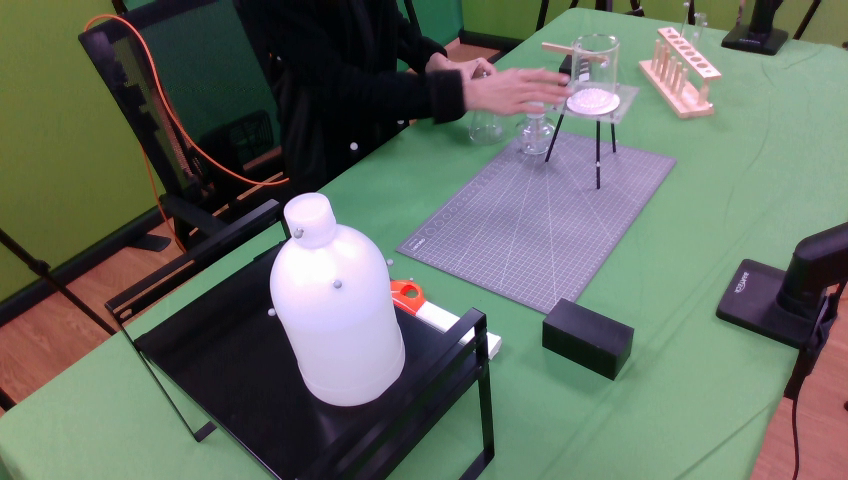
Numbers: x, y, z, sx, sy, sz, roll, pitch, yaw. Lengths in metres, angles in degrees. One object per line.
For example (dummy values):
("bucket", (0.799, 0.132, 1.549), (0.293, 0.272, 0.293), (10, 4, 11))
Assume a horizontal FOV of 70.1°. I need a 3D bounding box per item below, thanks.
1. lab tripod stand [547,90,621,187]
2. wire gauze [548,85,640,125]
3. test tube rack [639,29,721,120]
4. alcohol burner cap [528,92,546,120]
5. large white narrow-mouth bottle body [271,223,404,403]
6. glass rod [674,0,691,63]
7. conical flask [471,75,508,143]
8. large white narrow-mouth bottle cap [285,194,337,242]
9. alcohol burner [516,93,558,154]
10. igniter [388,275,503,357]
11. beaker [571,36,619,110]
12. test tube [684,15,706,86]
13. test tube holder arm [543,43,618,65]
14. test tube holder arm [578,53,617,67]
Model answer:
("lab tripod stand", (0.289, -0.184, 1.062), (0.148, 0.132, 0.147), (-6, 41, 6))
("wire gauze", (0.286, -0.234, 1.020), (0.124, 0.011, 0.122), (15, 44, 30))
("test tube rack", (0.527, -0.351, 1.262), (0.067, 0.085, 0.241), (-8, 40, 1))
("alcohol burner cap", (0.207, -0.249, 1.112), (0.034, 0.048, 0.033), (-6, 35, 5))
("large white narrow-mouth bottle body", (-0.077, 0.048, 0.525), (0.102, 0.195, 0.101), (-5, 41, 4))
("glass rod", (0.537, -0.437, 1.257), (0.008, 0.200, 0.008), (0, 39, 1))
("conical flask", (0.127, -0.259, 1.190), (0.075, 0.122, 0.075), (-5, 41, 5))
("large white narrow-mouth bottle cap", (-0.087, -0.018, 0.467), (0.038, 0.024, 0.037), (-4, 40, 4))
("alcohol burner", (0.212, -0.222, 1.135), (0.078, 0.119, 0.077), (-5, 42, 5))
("igniter", (-0.008, 0.093, 0.870), (0.274, 0.025, 0.057), (24, 60, 33))
("beaker", (0.281, -0.273, 0.992), (0.084, 0.101, 0.073), (-24, 42, -16))
("test tube", (0.541, -0.378, 1.216), (0.017, 0.151, 0.017), (-2, 44, 3))
("test tube holder arm", (0.345, -0.413, 1.341), (0.177, 0.015, 0.013), (25, 50, 31))
("test tube holder arm", (0.376, -0.393, 1.314), (0.087, 0.015, 0.010), (26, 51, 32))
